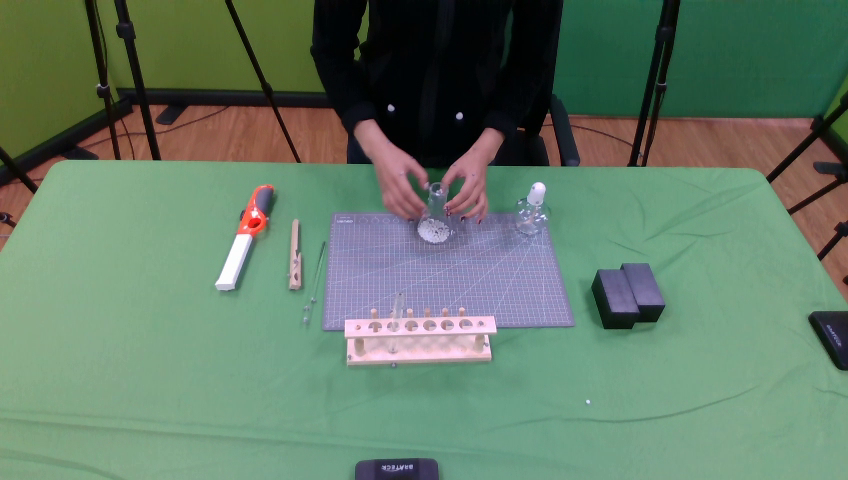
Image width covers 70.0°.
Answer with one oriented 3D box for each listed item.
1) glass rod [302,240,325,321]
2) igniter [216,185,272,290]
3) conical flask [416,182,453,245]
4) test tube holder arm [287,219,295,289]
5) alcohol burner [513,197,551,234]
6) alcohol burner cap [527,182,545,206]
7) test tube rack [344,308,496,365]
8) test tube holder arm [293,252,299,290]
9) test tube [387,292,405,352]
[{"bbox_3d":[-0.203,0.071,1.123,0.008,0.008,0.198,4,44,1],"label":"glass rod"},{"bbox_3d":[-0.347,-0.014,1.181,0.057,0.025,0.275,-2,45,8],"label":"igniter"},{"bbox_3d":[0.023,-0.056,1.182,0.075,0.122,0.075,2,46,-2],"label":"conical flask"},{"bbox_3d":[-0.253,0.022,1.158,0.013,0.015,0.177,24,36,-34],"label":"test tube holder arm"},{"bbox_3d":[0.220,-0.068,1.216,0.078,0.119,0.077,3,47,-3],"label":"alcohol burner"},{"bbox_3d":[0.222,-0.092,1.189,0.034,0.048,0.033,2,54,-3],"label":"alcohol burner cap"},{"bbox_3d":[-0.009,0.154,1.006,0.242,0.085,0.066,-1,46,-5],"label":"test tube rack"},{"bbox_3d":[-0.241,0.056,1.130,0.010,0.015,0.087,25,35,-33],"label":"test tube holder arm"},{"bbox_3d":[-0.045,0.133,0.955,0.017,0.151,0.017,5,47,-5],"label":"test tube"}]
